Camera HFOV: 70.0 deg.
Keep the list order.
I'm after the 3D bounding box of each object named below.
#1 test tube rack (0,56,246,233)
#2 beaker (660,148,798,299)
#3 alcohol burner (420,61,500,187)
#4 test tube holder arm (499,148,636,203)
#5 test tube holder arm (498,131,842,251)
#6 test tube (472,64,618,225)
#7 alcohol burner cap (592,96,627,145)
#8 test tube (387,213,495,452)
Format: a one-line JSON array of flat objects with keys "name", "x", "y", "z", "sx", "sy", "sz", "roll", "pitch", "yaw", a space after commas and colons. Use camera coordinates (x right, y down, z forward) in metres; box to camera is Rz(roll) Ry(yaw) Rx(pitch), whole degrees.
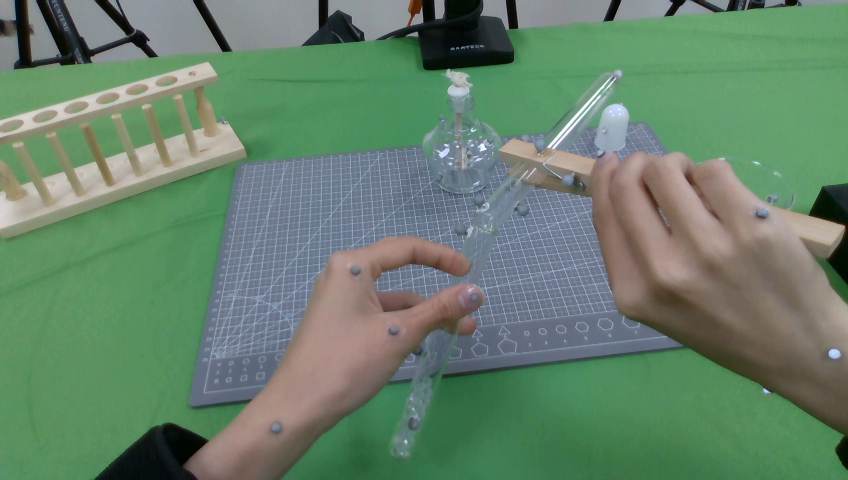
[{"name": "test tube rack", "x": -0.316, "y": -0.101, "z": 0.610, "sx": 0.243, "sy": 0.086, "sz": 0.066, "roll": -24, "pitch": 47, "yaw": -20}, {"name": "beaker", "x": 0.225, "y": -0.011, "z": 0.468, "sx": 0.074, "sy": 0.101, "sz": 0.083, "roll": -28, "pitch": 48, "yaw": -23}, {"name": "alcohol burner", "x": 0.034, "y": -0.111, "z": 0.574, "sx": 0.078, "sy": 0.120, "sz": 0.077, "roll": -3, "pitch": 43, "yaw": 3}, {"name": "test tube holder arm", "x": 0.077, "y": -0.040, "z": 0.333, "sx": 0.015, "sy": 0.010, "sz": 0.087, "roll": -42, "pitch": 43, "yaw": -20}, {"name": "test tube holder arm", "x": 0.104, "y": -0.030, "z": 0.298, "sx": 0.015, "sy": 0.013, "sz": 0.176, "roll": -41, "pitch": 40, "yaw": -21}, {"name": "test tube", "x": 0.076, "y": -0.061, "z": 0.360, "sx": 0.017, "sy": 0.017, "sz": 0.150, "roll": 27, "pitch": 59, "yaw": 28}, {"name": "alcohol burner cap", "x": 0.194, "y": -0.127, "z": 0.632, "sx": 0.034, "sy": 0.048, "sz": 0.033, "roll": -2, "pitch": 44, "yaw": 2}, {"name": "test tube", "x": 0.008, "y": 0.056, "z": 0.345, "sx": 0.017, "sy": 0.151, "sz": 0.017, "roll": 19, "pitch": 13, "yaw": -4}]
